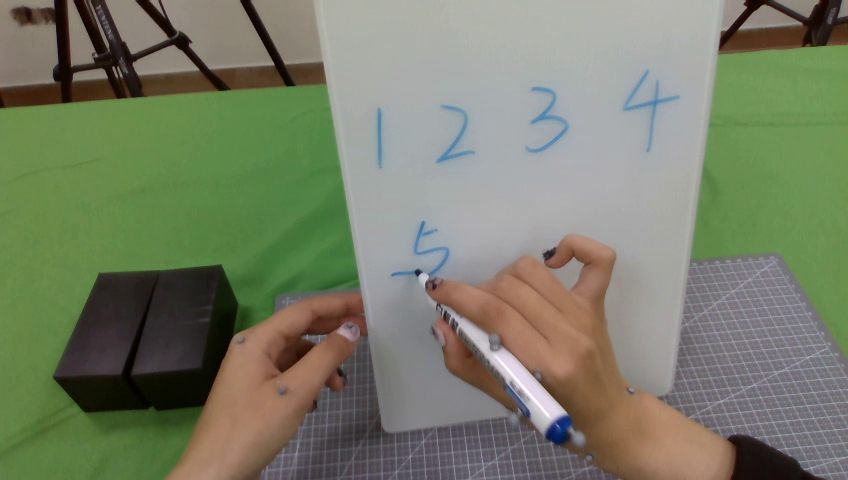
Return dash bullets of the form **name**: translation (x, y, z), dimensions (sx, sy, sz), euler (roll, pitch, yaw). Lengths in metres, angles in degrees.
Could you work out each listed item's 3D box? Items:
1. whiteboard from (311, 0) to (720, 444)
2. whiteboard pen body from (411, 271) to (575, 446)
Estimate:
- **whiteboard**: translation (0.058, -0.032, 0.434), dimensions (0.217, 0.308, 0.142), euler (-7, 27, -2)
- **whiteboard pen body**: translation (0.029, 0.056, 0.327), dimensions (0.017, 0.017, 0.139), euler (-25, 44, -20)
